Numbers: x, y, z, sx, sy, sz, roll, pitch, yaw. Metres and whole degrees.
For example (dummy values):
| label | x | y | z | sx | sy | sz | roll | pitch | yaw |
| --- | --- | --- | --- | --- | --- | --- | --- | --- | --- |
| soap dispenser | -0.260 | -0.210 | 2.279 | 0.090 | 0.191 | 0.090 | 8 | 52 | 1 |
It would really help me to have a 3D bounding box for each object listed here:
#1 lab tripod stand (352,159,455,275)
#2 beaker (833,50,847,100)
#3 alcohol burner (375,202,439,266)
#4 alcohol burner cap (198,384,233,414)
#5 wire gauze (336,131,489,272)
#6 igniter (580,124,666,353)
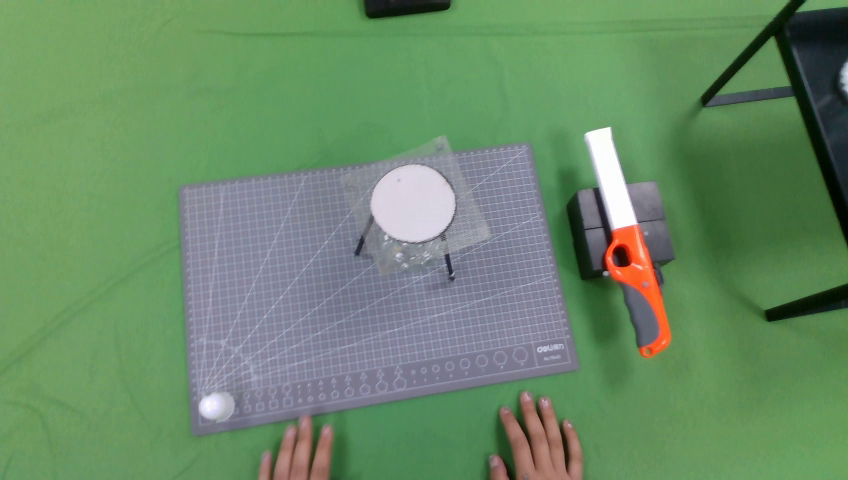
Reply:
| label | x | y | z | sx | sy | sz | roll | pitch | yaw |
| --- | --- | --- | --- | --- | --- | --- | --- | --- | --- |
| lab tripod stand | -0.016 | -0.030 | 0.690 | 0.148 | 0.132 | 0.147 | 1 | 73 | -2 |
| beaker | 0.467 | -0.184 | 0.598 | 0.083 | 0.100 | 0.074 | 44 | 76 | 9 |
| alcohol burner | -0.018 | -0.011 | 0.695 | 0.078 | 0.119 | 0.077 | 1 | 76 | -3 |
| alcohol burner cap | -0.232 | 0.175 | 0.668 | 0.034 | 0.048 | 0.033 | 1 | 74 | -4 |
| wire gauze | -0.013 | -0.041 | 0.624 | 0.125 | 0.011 | 0.121 | -21 | 77 | -9 |
| igniter | 0.232 | -0.007 | 0.710 | 0.057 | 0.025 | 0.275 | -12 | 75 | 5 |
